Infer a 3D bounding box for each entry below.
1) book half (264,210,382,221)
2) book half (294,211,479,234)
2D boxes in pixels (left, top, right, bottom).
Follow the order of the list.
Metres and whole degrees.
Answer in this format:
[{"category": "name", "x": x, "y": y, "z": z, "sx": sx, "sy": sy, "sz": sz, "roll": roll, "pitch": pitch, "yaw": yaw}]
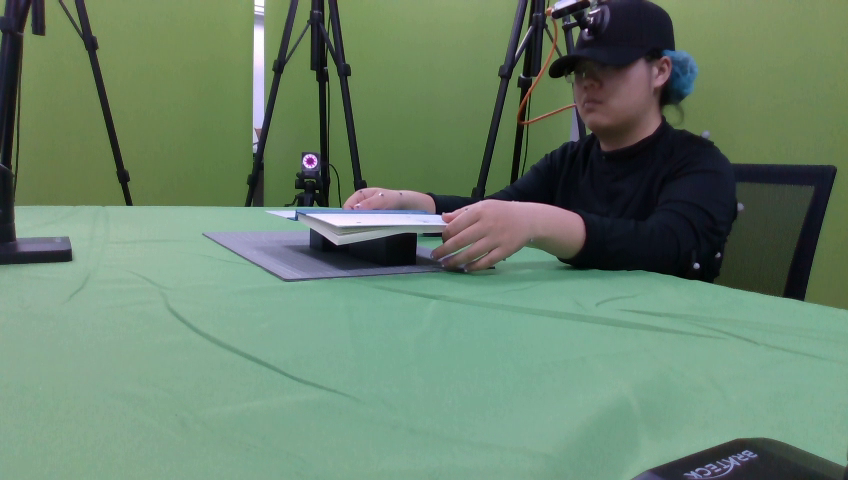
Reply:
[{"category": "book half", "x": -0.125, "y": -0.038, "z": 0.944, "sx": 0.211, "sy": 0.007, "sz": 0.142, "roll": -2, "pitch": 8, "yaw": -32}, {"category": "book half", "x": -0.051, "y": -0.025, "z": 0.823, "sx": 0.211, "sy": 0.016, "sz": 0.148, "roll": -1, "pitch": 9, "yaw": -32}]
